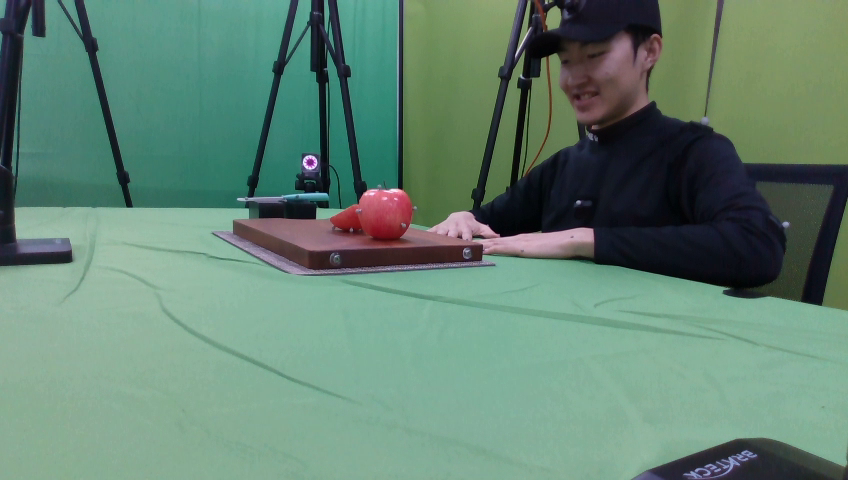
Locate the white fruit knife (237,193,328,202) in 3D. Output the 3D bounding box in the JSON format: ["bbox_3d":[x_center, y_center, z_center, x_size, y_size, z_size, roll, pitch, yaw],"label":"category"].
[{"bbox_3d":[-0.294,-0.088,1.279,0.208,0.016,0.027,-6,-13,-36],"label":"white fruit knife"}]

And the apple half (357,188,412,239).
[{"bbox_3d":[-0.050,-0.037,0.873,0.081,0.074,0.053,1,10,-39],"label":"apple half"}]

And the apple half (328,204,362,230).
[{"bbox_3d":[-0.107,-0.034,0.954,0.081,0.033,0.081,-19,-5,-1],"label":"apple half"}]
